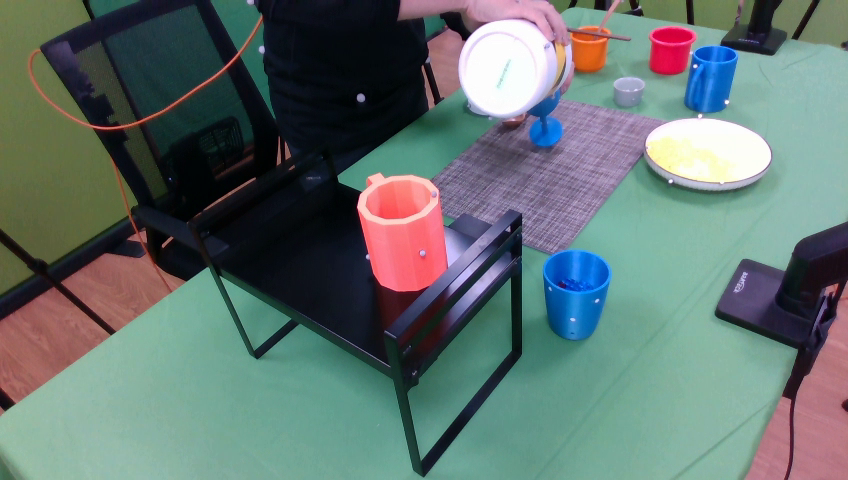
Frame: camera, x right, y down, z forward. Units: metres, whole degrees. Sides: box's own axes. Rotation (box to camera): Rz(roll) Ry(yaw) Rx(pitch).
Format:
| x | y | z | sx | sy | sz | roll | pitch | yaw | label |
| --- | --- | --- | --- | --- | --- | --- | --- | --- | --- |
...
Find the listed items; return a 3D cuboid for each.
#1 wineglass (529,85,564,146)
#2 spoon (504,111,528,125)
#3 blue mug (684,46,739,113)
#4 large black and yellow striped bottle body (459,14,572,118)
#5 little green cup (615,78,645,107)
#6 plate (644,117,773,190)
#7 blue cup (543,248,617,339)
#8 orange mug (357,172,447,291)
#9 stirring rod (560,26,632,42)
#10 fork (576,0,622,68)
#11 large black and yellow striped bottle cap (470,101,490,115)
| x | y | z | sx | sy | sz | roll | pitch | yaw | label |
| --- | --- | --- | --- | --- | --- | --- | --- | --- | --- |
| 0.213 | -0.240 | 1.079 | 0.073 | 0.173 | 0.073 | -6 | 67 | 14 | wineglass |
| 0.227 | -0.285 | 1.269 | 0.041 | 0.022 | 0.194 | 1 | 36 | 45 | spoon |
| 0.556 | -0.310 | 1.190 | 0.117 | 0.106 | 0.081 | -32 | 46 | -25 | blue mug |
| 0.145 | -0.266 | 0.906 | 0.130 | 0.131 | 0.184 | 13 | 29 | 23 | large black and yellow striped bottle body |
| 0.426 | -0.306 | 1.257 | 0.061 | 0.039 | 0.061 | -4 | 40 | 4 | little green cup |
| 0.495 | -0.149 | 1.063 | 0.209 | 0.038 | 0.208 | -5 | 40 | 4 | plate |
| 0.199 | 0.076 | 0.797 | 0.092 | 0.100 | 0.092 | -4 | 39 | 4 | blue cup |
| -0.030 | -0.018 | 0.669 | 0.084 | 0.101 | 0.125 | -23 | 47 | -16 | orange mug |
| 0.381 | -0.463 | 1.356 | 0.175 | 0.006 | 0.014 | 22 | 47 | 30 | stirring rod |
| 0.409 | -0.484 | 1.381 | 0.028 | 0.019 | 0.207 | 37 | 101 | 45 | fork |
| 0.156 | -0.307 | 1.316 | 0.115 | 0.019 | 0.114 | -7 | 39 | 6 | large black and yellow striped bottle cap |
